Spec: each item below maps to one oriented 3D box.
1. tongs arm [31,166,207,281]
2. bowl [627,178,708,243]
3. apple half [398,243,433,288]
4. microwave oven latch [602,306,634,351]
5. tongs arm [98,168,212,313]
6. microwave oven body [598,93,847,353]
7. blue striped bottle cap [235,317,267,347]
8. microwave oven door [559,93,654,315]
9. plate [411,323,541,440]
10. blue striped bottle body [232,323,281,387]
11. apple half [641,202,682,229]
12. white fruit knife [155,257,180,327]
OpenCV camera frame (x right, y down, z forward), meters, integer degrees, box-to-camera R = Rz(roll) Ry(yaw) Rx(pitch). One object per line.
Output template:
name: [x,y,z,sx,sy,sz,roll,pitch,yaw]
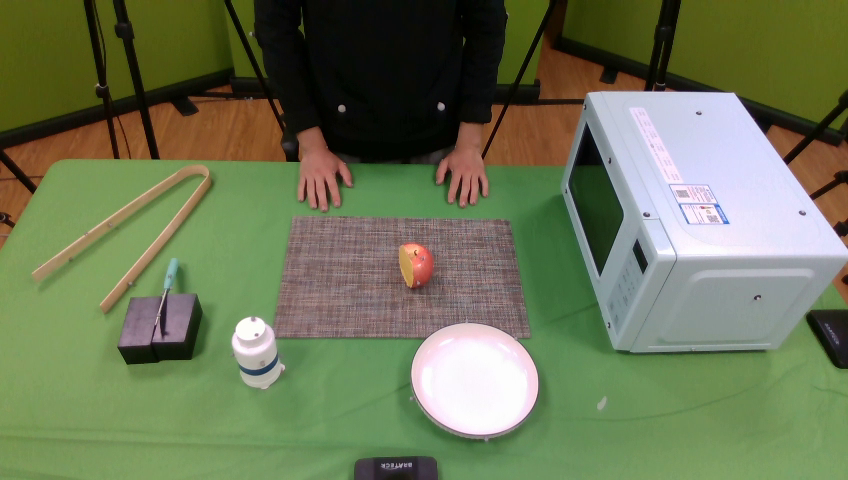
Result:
tongs arm: [-0.578,-0.040,1.184,0.050,0.026,0.384,23,48,17]
bowl: [0.456,-0.047,1.168,0.151,0.077,0.150,7,36,-5]
apple half: [-0.012,0.047,1.115,0.053,0.075,0.080,-11,44,-20]
microwave oven latch: [0.332,0.153,1.044,0.030,0.029,0.078,-1,45,-4]
tongs arm: [-0.504,-0.012,1.167,0.028,0.028,0.385,11,46,11]
microwave oven body: [0.475,-0.041,1.110,0.326,0.261,0.438,-1,45,-4]
blue striped bottle cap: [-0.259,0.137,0.907,0.044,0.021,0.044,3,43,-2]
microwave oven door: [0.327,-0.074,1.123,0.039,0.245,0.353,-1,46,-5]
plate: [0.082,0.228,0.976,0.208,0.039,0.206,2,45,-2]
blue striped bottle body: [-0.262,0.172,0.944,0.063,0.121,0.062,2,46,-2]
apple half: [0.456,-0.054,1.160,0.081,0.033,0.081,-3,33,2]
white fruit knife: [-0.440,0.085,1.037,0.016,0.027,0.206,10,26,-19]
